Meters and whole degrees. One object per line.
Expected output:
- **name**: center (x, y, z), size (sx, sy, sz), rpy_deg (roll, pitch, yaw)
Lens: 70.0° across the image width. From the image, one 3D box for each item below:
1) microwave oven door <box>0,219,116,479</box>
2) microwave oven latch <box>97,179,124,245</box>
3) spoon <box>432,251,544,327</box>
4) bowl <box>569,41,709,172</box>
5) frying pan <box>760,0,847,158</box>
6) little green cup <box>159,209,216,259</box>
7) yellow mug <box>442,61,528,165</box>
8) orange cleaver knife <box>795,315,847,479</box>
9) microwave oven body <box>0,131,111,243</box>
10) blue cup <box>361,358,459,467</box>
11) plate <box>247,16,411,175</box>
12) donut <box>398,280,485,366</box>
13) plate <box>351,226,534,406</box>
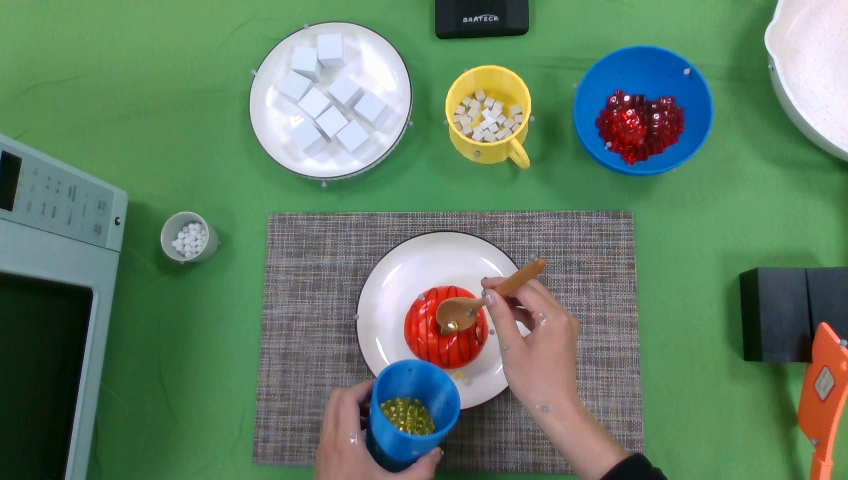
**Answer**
- **microwave oven door**: center (-0.424, 0.163, 0.618), size (0.039, 0.245, 0.354), rpy_deg (3, 80, 6)
- **microwave oven latch**: center (-0.396, -0.035, 0.752), size (0.030, 0.029, 0.079), rpy_deg (6, 82, 6)
- **spoon**: center (0.059, 0.051, 0.584), size (0.042, 0.194, 0.021), rpy_deg (41, 60, -5)
- **bowl**: center (0.241, -0.144, 0.705), size (0.151, 0.077, 0.151), rpy_deg (-1, 81, 6)
- **frying pan**: center (0.519, -0.118, 0.659), size (0.306, 0.103, 0.485), rpy_deg (5, 73, 8)
- **little green cup**: center (-0.292, -0.005, 0.755), size (0.061, 0.039, 0.061), rpy_deg (-1, 82, 5)
- **yellow mug**: center (0.083, -0.143, 0.727), size (0.100, 0.064, 0.130), rpy_deg (-37, 79, -1)
- **orange cleaver knife**: center (0.408, 0.183, 0.631), size (0.012, 0.077, 0.212), rpy_deg (-1, 109, 6)
- **microwave oven body**: center (-0.565, 0.115, 0.646), size (0.326, 0.261, 0.440), rpy_deg (3, 81, 6)
- **blue cup**: center (-0.023, 0.179, 0.600), size (0.093, 0.101, 0.091), rpy_deg (11, 49, -13)
- **plate**: center (-0.118, -0.179, 0.768), size (0.207, 0.039, 0.207), rpy_deg (-1, 80, 6)
- **donut**: center (0.020, 0.095, 0.692), size (0.099, 0.048, 0.099), rpy_deg (-1, 84, 7)
- **plate**: center (0.021, 0.088, 0.705), size (0.209, 0.038, 0.208), rpy_deg (-1, 81, 6)
